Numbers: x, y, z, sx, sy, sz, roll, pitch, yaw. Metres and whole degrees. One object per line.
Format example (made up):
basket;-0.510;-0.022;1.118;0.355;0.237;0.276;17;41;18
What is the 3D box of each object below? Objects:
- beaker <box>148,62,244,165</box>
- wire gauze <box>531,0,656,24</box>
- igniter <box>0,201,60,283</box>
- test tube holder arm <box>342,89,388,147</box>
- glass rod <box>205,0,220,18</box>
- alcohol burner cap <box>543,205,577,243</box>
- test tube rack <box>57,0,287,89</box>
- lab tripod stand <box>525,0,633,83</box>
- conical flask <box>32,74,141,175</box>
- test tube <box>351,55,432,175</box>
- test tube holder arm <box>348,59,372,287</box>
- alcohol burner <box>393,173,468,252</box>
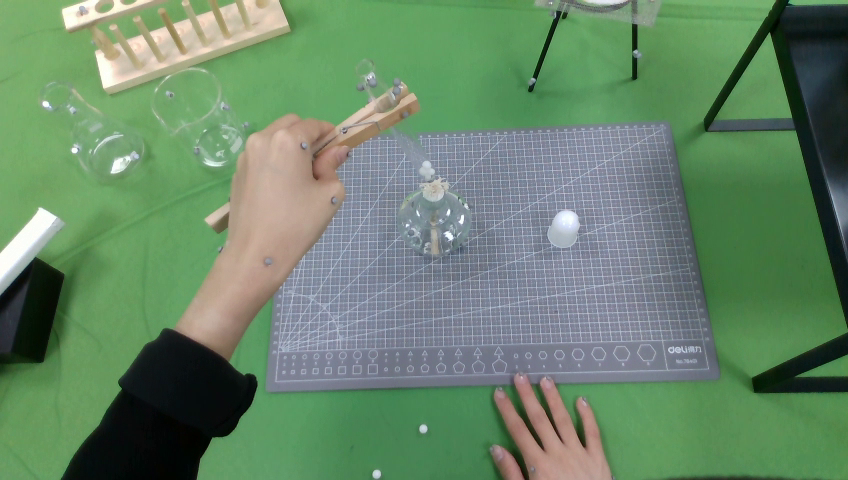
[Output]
beaker;-0.251;-0.135;0.679;0.074;0.101;0.083;12;69;8
wire gauze;0.186;-0.281;0.627;0.121;0.011;0.124;19;71;8
igniter;-0.464;0.077;0.590;0.057;0.025;0.275;25;70;22
test tube holder arm;-0.047;-0.088;0.465;0.015;0.088;0.010;2;71;-20
glass rod;-0.283;-0.336;0.698;0.008;0.201;0.008;-4;61;8
alcohol burner cap;0.146;-0.020;0.641;0.034;0.048;0.033;-1;68;2
test tube rack;-0.303;-0.276;0.746;0.242;0.086;0.066;-22;68;-6
lab tripod stand;0.182;-0.254;0.688;0.148;0.132;0.147;0;66;1
conical flask;-0.376;-0.131;0.670;0.075;0.123;0.075;-1;67;3
test tube;-0.021;-0.093;0.483;0.017;0.152;0.017;-7;64;16
test tube holder arm;-0.052;-0.050;0.480;0.015;0.013;0.178;-1;97;-24
alcohol burner;0.007;-0.033;0.614;0.078;0.120;0.077;0;66;1
